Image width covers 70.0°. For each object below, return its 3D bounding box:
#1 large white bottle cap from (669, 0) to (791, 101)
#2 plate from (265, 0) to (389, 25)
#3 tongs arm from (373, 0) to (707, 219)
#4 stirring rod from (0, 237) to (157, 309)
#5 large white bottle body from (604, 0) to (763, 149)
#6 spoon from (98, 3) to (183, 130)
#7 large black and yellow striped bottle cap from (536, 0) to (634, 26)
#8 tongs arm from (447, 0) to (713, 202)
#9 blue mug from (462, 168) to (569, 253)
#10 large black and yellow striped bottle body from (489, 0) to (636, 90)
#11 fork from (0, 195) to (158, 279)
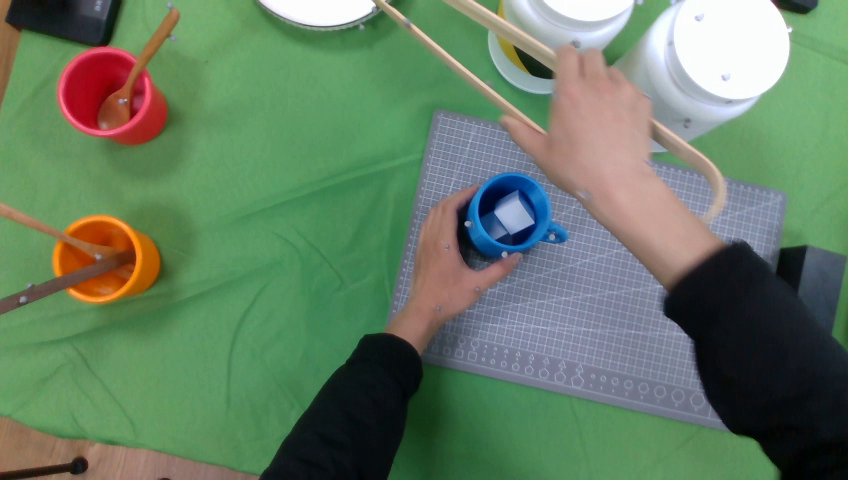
[{"bbox_3d":[0.292,-0.191,0.578,0.115,0.018,0.114,0,86,-5],"label":"large white bottle cap"},{"bbox_3d":[-0.116,-0.353,0.720,0.208,0.039,0.207,0,86,-4],"label":"plate"},{"bbox_3d":[0.078,-0.142,0.539,0.051,0.027,0.382,-44,71,-2],"label":"tongs arm"},{"bbox_3d":[-0.358,0.032,0.626,0.176,0.006,0.014,-31,91,-48],"label":"stirring rod"},{"bbox_3d":[0.287,-0.183,0.662,0.131,0.184,0.130,0,86,-3],"label":"large white bottle body"},{"bbox_3d":[-0.302,-0.180,0.642,0.194,0.022,0.041,-35,84,38],"label":"spoon"},{"bbox_3d":[0.154,-0.262,0.575,0.115,0.019,0.115,0,87,-5],"label":"large black and yellow striped bottle cap"},{"bbox_3d":[0.096,-0.162,0.540,0.385,0.028,0.028,42,84,19],"label":"tongs arm"},{"bbox_3d":[0.105,-0.024,0.676,0.116,0.106,0.082,20,84,-2],"label":"blue mug"},{"bbox_3d":[0.149,-0.253,0.658,0.131,0.184,0.130,0,85,-4],"label":"large black and yellow striped bottle body"},{"bbox_3d":[-0.372,-0.010,0.622,0.209,0.018,0.028,37,80,-44],"label":"fork"}]
